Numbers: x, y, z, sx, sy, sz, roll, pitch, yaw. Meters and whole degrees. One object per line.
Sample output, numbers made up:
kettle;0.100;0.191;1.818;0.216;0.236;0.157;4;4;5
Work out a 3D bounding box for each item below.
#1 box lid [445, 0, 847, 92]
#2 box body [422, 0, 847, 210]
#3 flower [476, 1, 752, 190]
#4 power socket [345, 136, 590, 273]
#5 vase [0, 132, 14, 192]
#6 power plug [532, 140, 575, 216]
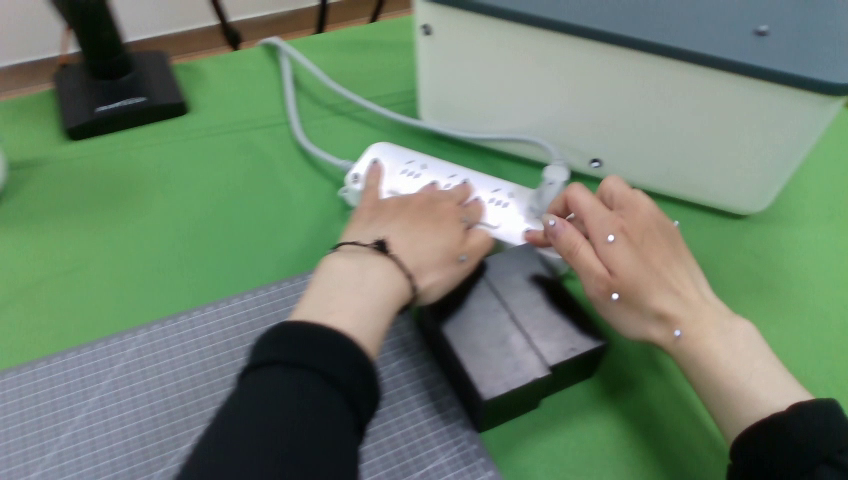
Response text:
box lid;0.204;-0.247;0.549;0.370;0.015;0.261;18;51;11
box body;0.199;-0.199;0.605;0.363;0.162;0.252;18;51;11
flower;0.198;-0.162;0.666;0.359;0.038;0.044;41;82;20
power socket;0.039;-0.035;0.541;0.226;0.033;0.072;20;51;14
vase;-0.409;-0.112;0.470;0.098;0.201;0.097;2;48;-2
power plug;0.120;-0.046;0.525;0.035;0.053;0.072;27;48;21
